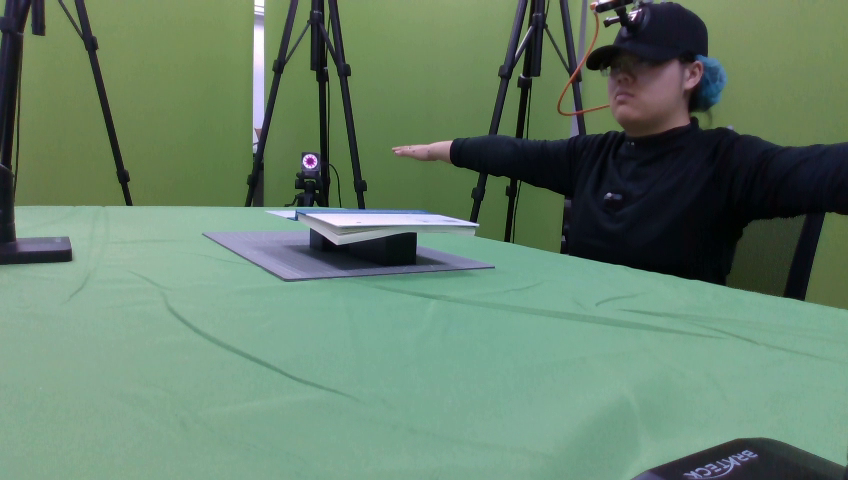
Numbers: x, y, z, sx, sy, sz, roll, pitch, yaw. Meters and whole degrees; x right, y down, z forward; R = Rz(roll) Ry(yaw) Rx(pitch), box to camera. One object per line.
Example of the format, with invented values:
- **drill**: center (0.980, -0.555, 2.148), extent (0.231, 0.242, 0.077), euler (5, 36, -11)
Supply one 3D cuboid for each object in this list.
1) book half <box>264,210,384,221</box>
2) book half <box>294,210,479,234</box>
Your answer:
- **book half**: center (-0.125, -0.038, 0.944), extent (0.211, 0.007, 0.142), euler (-2, 9, -32)
- **book half**: center (-0.051, -0.025, 0.823), extent (0.211, 0.016, 0.148), euler (-1, 9, -31)
